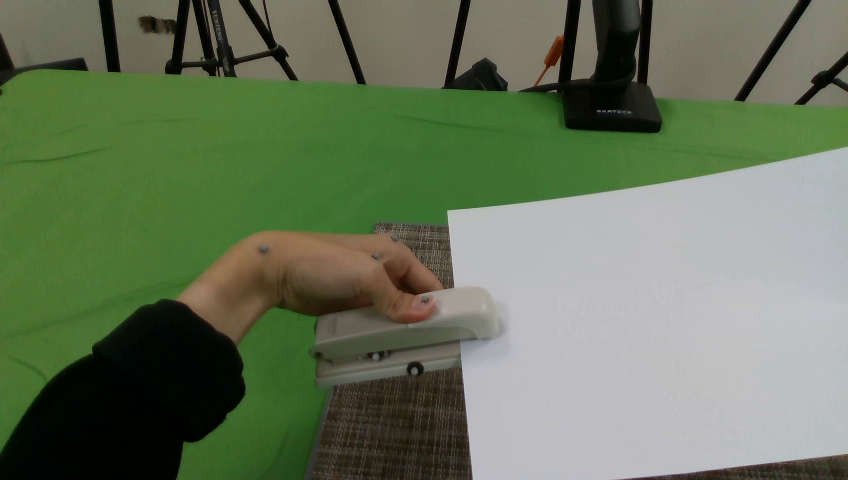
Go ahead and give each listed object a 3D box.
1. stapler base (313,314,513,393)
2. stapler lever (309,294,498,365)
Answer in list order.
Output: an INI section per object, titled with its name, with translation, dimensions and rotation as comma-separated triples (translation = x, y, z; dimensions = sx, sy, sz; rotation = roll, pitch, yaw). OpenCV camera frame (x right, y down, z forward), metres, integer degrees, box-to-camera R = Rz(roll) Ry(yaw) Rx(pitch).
[stapler base]
translation = -0.010, 0.066, 0.387
dimensions = 0.130, 0.025, 0.041
rotation = -11, 38, 5
[stapler lever]
translation = -0.013, 0.056, 0.377
dimensions = 0.118, 0.040, 0.026
rotation = -2, 38, -2
